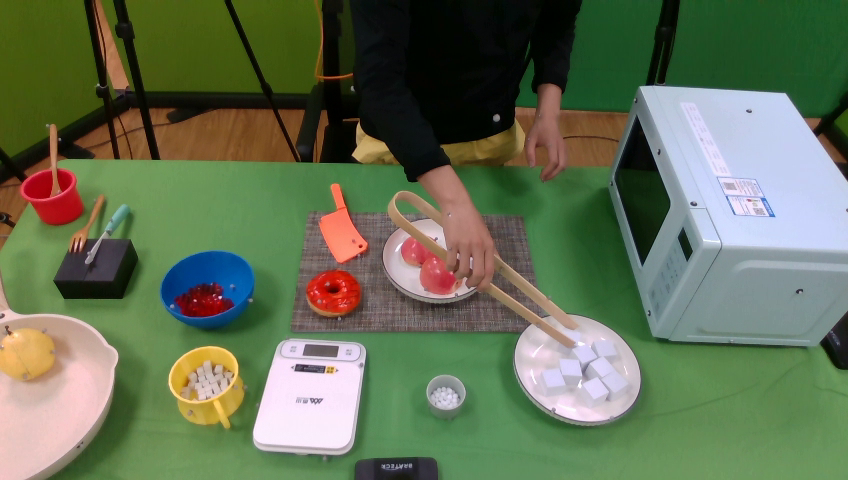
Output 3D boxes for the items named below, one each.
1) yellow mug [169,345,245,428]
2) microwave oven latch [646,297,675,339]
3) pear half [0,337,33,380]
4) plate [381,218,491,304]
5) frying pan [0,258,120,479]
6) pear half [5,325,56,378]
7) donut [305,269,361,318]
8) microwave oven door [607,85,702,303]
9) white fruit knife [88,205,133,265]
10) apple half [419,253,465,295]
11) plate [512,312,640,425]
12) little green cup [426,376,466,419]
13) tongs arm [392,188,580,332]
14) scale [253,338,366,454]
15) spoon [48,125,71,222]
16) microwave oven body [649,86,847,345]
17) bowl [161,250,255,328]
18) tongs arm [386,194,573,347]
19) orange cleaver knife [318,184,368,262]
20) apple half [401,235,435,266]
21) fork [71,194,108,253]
[{"bbox_3d":[-0.322,0.230,0.922,0.100,0.064,0.130,-24,53,-25],"label":"yellow mug"},{"bbox_3d":[0.412,0.134,1.061,0.030,0.029,0.078,4,45,1],"label":"microwave oven latch"},{"bbox_3d":[-0.631,0.184,0.921,0.070,0.088,0.031,29,49,19],"label":"pear half"},{"bbox_3d":[0.023,0.042,1.143,0.209,0.038,0.208,2,46,-2],"label":"plate"},{"bbox_3d":[-0.647,0.164,0.936,0.307,0.103,0.485,-19,58,-22],"label":"frying pan"},{"bbox_3d":[-0.608,0.158,0.935,0.076,0.110,0.056,31,51,20],"label":"pear half"},{"bbox_3d":[-0.160,0.094,1.075,0.099,0.048,0.098,4,45,-3],"label":"donut"},{"bbox_3d":[0.423,-0.094,1.140,0.039,0.245,0.353,2,46,-1],"label":"microwave oven door"},{"bbox_3d":[-0.584,-0.013,1.129,0.016,0.027,0.206,0,31,-5],"label":"white fruit knife"},{"bbox_3d":[0.034,0.056,1.109,0.074,0.053,0.081,38,55,25],"label":"apple half"},{"bbox_3d":[0.246,0.213,0.999,0.208,0.039,0.206,2,46,-2],"label":"plate"},{"bbox_3d":[0.033,0.248,0.950,0.061,0.039,0.061,2,46,-2],"label":"little green cup"},{"bbox_3d":[0.102,0.040,1.012,0.385,0.026,0.050,40,51,-2],"label":"tongs arm"},{"bbox_3d":[-0.175,0.236,0.951,0.149,0.032,0.199,4,45,0],"label":"scale"},{"bbox_3d":[-0.718,-0.131,1.188,0.041,0.021,0.193,-3,90,-7],"label":"spoon"},{"bbox_3d":[0.567,-0.053,1.118,0.326,0.261,0.439,2,45,-1],"label":"microwave oven body"},{"bbox_3d":[-0.362,0.098,1.039,0.151,0.077,0.150,2,45,-2],"label":"bowl"},{"bbox_3d":[0.091,0.056,0.996,0.388,0.028,0.028,38,55,-4],"label":"tongs arm"},{"bbox_3d":[-0.173,-0.037,1.219,0.077,0.012,0.210,-16,50,-12],"label":"orange cleaver knife"},{"bbox_3d":[-0.005,0.014,1.159,0.081,0.033,0.081,5,44,-4],"label":"apple half"},{"bbox_3d":[-0.634,-0.036,1.158,0.028,0.019,0.206,-8,31,-8],"label":"fork"}]
